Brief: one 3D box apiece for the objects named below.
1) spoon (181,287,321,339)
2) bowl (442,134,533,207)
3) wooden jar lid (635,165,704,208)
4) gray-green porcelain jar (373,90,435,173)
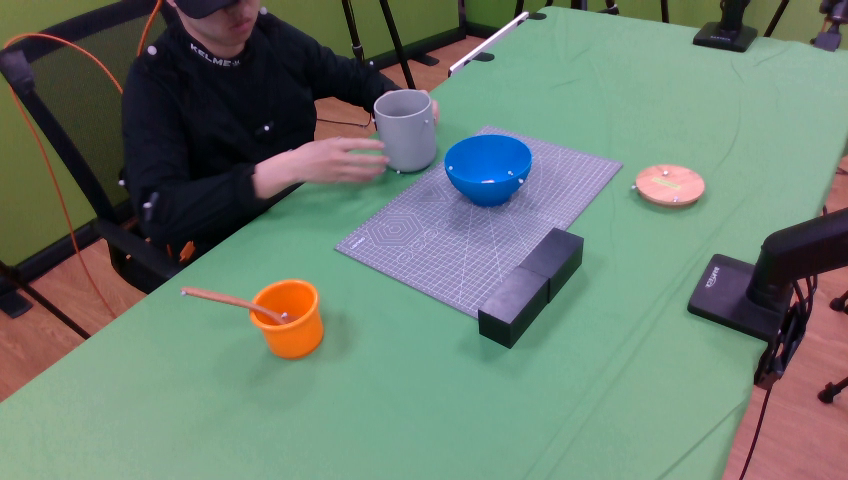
[{"bbox_3d":[-0.223,0.093,0.796,0.021,0.195,0.041,-46,36,24],"label":"spoon"},{"bbox_3d":[0.110,-0.109,1.033,0.151,0.077,0.150,-4,40,4],"label":"bowl"},{"bbox_3d":[0.410,-0.089,1.014,0.108,0.021,0.108,-5,42,5],"label":"wooden jar lid"},{"bbox_3d":[-0.034,-0.198,1.125,0.106,0.127,0.105,-4,41,4],"label":"gray-green porcelain jar"}]
